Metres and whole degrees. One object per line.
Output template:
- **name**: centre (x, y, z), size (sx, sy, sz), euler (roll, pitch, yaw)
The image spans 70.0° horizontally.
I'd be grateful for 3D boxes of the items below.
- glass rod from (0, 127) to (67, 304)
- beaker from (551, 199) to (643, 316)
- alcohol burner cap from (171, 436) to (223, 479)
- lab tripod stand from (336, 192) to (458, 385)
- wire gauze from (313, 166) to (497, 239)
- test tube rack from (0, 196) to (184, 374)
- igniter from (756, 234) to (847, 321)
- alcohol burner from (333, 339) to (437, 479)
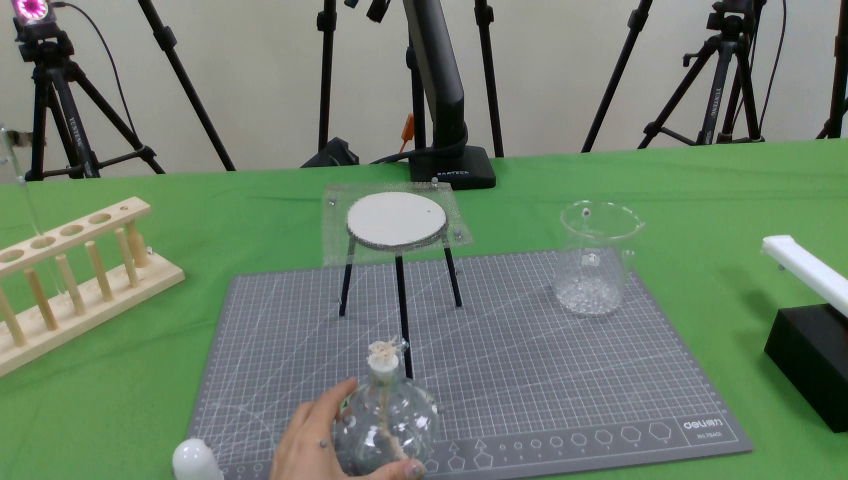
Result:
- **glass rod**: centre (-0.369, -0.015, 0.572), size (0.008, 0.201, 0.008), euler (3, 35, -2)
- **beaker**: centre (0.170, 0.019, 0.609), size (0.084, 0.101, 0.073), euler (0, 33, 1)
- **alcohol burner cap**: centre (-0.170, 0.165, 0.447), size (0.034, 0.048, 0.033), euler (0, 33, 0)
- **lab tripod stand**: centre (-0.023, 0.036, 0.557), size (0.148, 0.132, 0.147), euler (1, 34, 0)
- **wire gauze**: centre (-0.019, -0.032, 0.509), size (0.125, 0.011, 0.120), euler (-10, 30, -27)
- **test tube rack**: centre (-0.373, 0.048, 0.598), size (0.066, 0.086, 0.242), euler (24, 40, 33)
- **igniter**: centre (0.379, 0.067, 0.515), size (0.057, 0.025, 0.274), euler (-5, 30, -6)
- **alcohol burner**: centre (-0.029, 0.119, 0.448), size (0.078, 0.120, 0.077), euler (1, 33, 0)
